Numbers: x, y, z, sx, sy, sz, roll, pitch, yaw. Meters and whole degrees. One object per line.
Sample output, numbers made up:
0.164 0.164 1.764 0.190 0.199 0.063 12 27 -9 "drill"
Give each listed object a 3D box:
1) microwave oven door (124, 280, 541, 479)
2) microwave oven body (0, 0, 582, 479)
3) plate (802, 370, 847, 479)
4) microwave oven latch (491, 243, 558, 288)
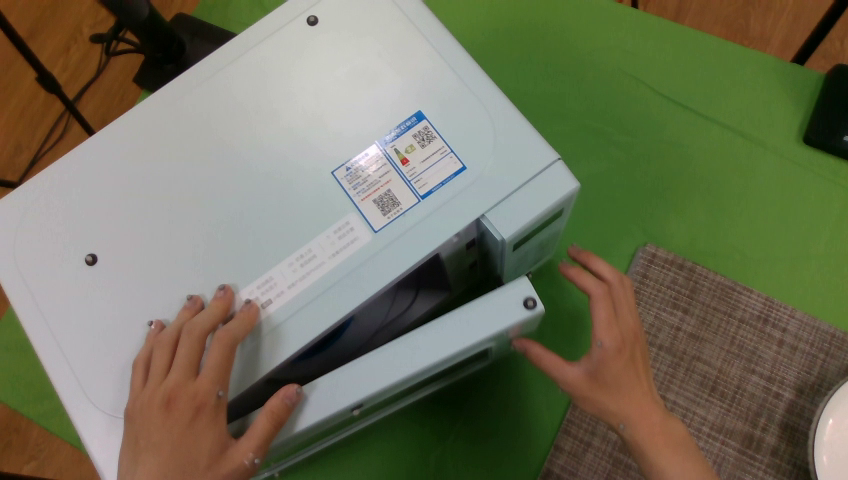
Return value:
-0.061 0.146 0.567 0.356 0.245 0.039 -26 73 -1 "microwave oven door"
-0.126 -0.013 0.621 0.441 0.261 0.324 -36 75 -3 "microwave oven body"
0.487 0.224 0.610 0.207 0.039 0.206 -1 75 5 "plate"
0.113 0.021 0.688 0.079 0.029 0.030 -34 75 -3 "microwave oven latch"
